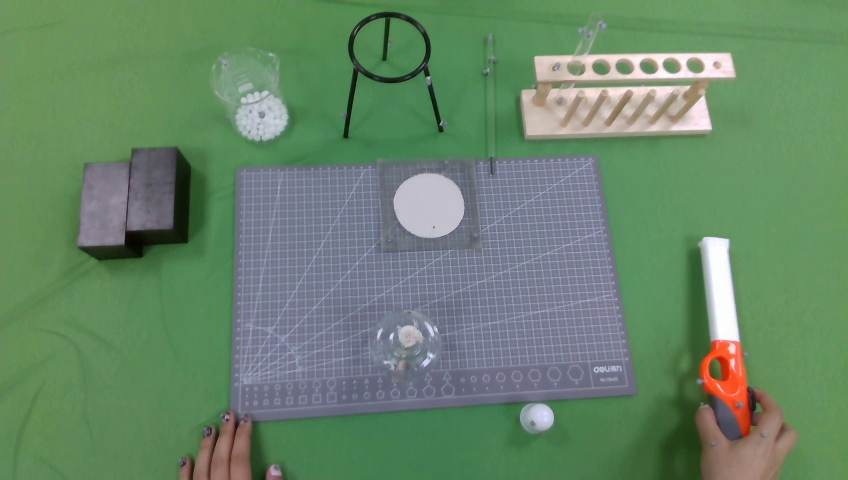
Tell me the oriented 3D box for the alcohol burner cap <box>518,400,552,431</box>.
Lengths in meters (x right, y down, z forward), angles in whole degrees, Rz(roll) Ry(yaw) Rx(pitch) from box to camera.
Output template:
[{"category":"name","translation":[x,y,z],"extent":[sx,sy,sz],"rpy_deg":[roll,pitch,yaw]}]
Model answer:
[{"category":"alcohol burner cap","translation":[0.123,0.190,0.657],"extent":[0.034,0.048,0.033],"rpy_deg":[1,70,-2]}]

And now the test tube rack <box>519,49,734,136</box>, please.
[{"category":"test tube rack","translation":[0.249,-0.182,0.755],"extent":[0.243,0.085,0.066],"rpy_deg":[-2,73,-4]}]

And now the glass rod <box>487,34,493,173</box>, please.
[{"category":"glass rod","translation":[0.085,-0.179,0.782],"extent":[0.008,0.008,0.198],"rpy_deg":[2,74,-3]}]

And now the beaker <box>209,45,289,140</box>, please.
[{"category":"beaker","translation":[-0.199,-0.170,0.714],"extent":[0.084,0.101,0.073],"rpy_deg":[-41,80,-15]}]

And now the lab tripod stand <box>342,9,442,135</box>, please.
[{"category":"lab tripod stand","translation":[-0.043,-0.196,0.714],"extent":[0.148,0.132,0.147],"rpy_deg":[1,72,-2]}]

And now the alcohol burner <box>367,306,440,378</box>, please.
[{"category":"alcohol burner","translation":[-0.020,0.103,0.632],"extent":[0.078,0.119,0.077],"rpy_deg":[2,71,-5]}]

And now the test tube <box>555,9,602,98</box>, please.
[{"category":"test tube","translation":[0.178,-0.212,0.708],"extent":[0.017,0.151,0.017],"rpy_deg":[1,69,-2]}]

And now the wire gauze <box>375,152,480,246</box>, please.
[{"category":"wire gauze","translation":[0.003,-0.050,0.736],"extent":[0.125,0.011,0.120],"rpy_deg":[-1,72,-3]}]

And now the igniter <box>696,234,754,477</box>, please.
[{"category":"igniter","translation":[0.334,0.121,0.680],"extent":[0.057,0.025,0.274],"rpy_deg":[6,67,-1]}]
